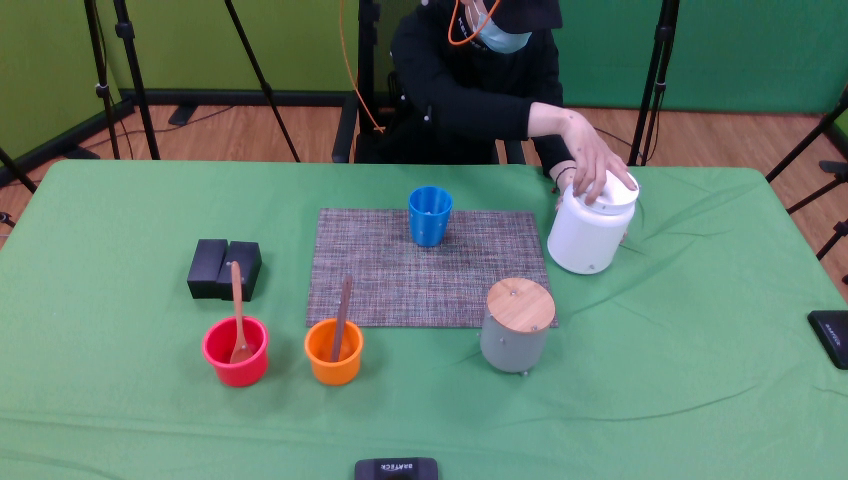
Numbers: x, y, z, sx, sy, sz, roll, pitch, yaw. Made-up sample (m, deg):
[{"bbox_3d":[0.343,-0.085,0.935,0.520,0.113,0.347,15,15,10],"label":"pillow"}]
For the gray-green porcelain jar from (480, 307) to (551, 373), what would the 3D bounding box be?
[{"bbox_3d":[0.148,0.148,0.992,0.106,0.127,0.105,2,46,-2],"label":"gray-green porcelain jar"}]

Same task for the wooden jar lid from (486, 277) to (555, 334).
[{"bbox_3d":[0.150,0.105,0.948,0.108,0.021,0.107,3,47,-3],"label":"wooden jar lid"}]

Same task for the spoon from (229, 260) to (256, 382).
[{"bbox_3d":[-0.294,0.129,0.966,0.041,0.021,0.193,-4,91,-7],"label":"spoon"}]

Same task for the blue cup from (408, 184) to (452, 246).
[{"bbox_3d":[0.008,-0.042,1.177,0.093,0.101,0.092,3,48,-3],"label":"blue cup"}]

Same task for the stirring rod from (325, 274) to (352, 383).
[{"bbox_3d":[-0.137,0.142,0.971,0.014,0.006,0.176,10,88,0],"label":"stirring rod"}]

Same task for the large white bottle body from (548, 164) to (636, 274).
[{"bbox_3d":[0.317,-0.039,1.141,0.131,0.185,0.130,3,47,-3],"label":"large white bottle body"}]

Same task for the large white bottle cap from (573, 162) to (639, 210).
[{"bbox_3d":[0.325,-0.098,1.080,0.115,0.018,0.114,4,47,-4],"label":"large white bottle cap"}]
